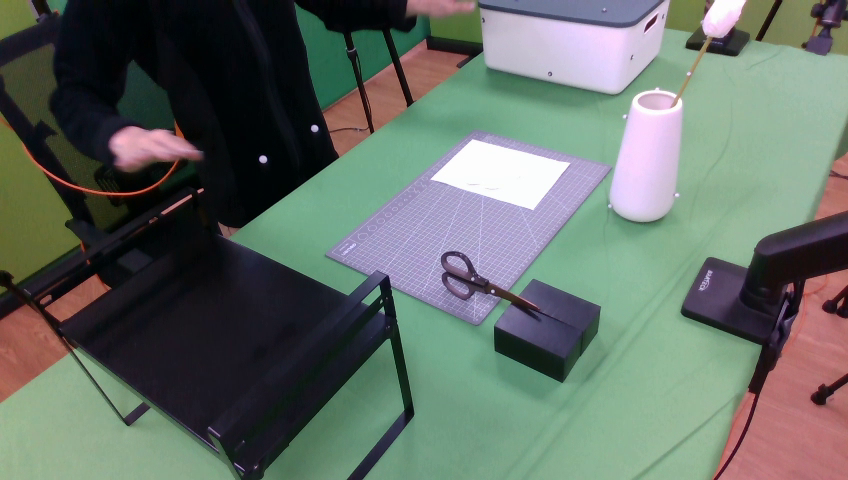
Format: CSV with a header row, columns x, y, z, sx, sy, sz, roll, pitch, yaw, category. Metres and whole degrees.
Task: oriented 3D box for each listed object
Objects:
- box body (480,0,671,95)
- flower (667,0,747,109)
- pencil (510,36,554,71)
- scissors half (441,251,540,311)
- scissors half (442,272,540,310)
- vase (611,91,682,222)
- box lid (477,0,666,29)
x,y,z,sx,sy,sz,roll,pitch,yaw,category
0.339,-0.480,1.381,0.361,0.161,0.255,22,48,30,box body
0.354,-0.187,0.879,0.038,0.362,0.044,30,48,14,flower
0.263,-0.453,1.469,0.012,0.012,0.194,25,52,32,pencil
0.087,0.056,0.824,0.013,0.040,0.173,-30,44,-35,scissors half
0.089,0.074,0.832,0.013,0.040,0.173,-24,23,-38,scissors half
0.348,-0.125,0.935,0.098,0.201,0.097,-3,40,3,vase
0.332,-0.535,1.333,0.368,0.015,0.264,22,48,31,box lid
